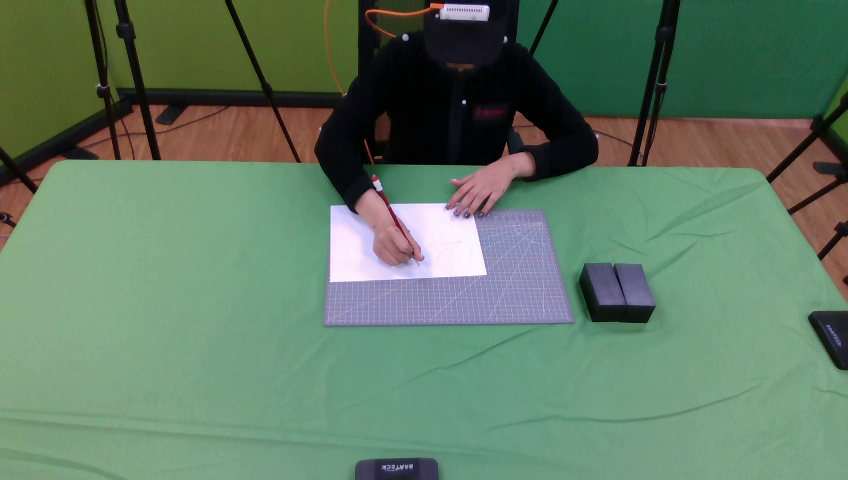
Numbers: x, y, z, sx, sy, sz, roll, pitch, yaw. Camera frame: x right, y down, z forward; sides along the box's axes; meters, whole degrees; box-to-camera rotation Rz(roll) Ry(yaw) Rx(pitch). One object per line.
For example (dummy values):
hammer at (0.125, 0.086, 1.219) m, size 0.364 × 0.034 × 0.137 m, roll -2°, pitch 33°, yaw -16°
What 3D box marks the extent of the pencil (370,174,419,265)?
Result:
pencil at (-0.052, -0.035, 1.129) m, size 0.012 × 0.194 × 0.012 m, roll -24°, pitch 18°, yaw 8°
